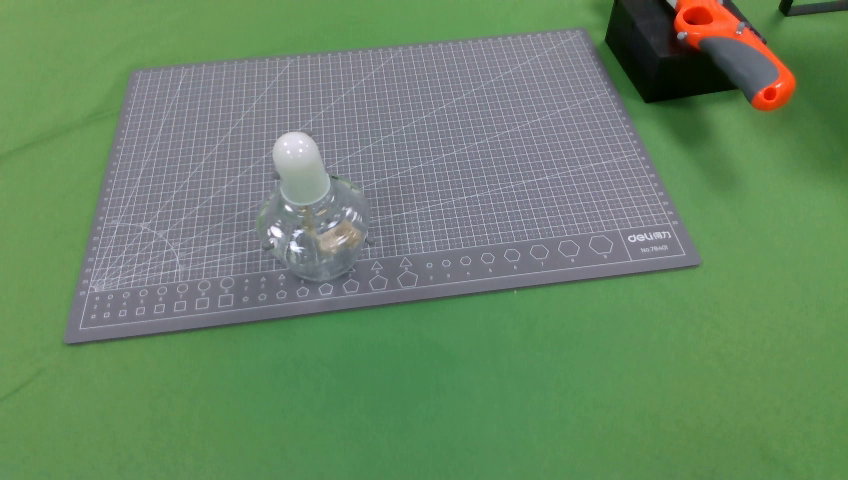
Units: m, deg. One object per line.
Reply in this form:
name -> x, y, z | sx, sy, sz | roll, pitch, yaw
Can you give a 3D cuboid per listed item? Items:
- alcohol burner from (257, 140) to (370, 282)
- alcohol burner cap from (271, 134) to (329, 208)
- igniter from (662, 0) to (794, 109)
alcohol burner -> -0.077, -0.024, 0.406 | 0.078, 0.120, 0.077 | -1, 55, 2
alcohol burner cap -> -0.079, -0.046, 0.378 | 0.034, 0.048, 0.033 | 0, 57, 0
igniter -> 0.237, -0.205, 0.536 | 0.057, 0.025, 0.273 | -13, 51, -5
